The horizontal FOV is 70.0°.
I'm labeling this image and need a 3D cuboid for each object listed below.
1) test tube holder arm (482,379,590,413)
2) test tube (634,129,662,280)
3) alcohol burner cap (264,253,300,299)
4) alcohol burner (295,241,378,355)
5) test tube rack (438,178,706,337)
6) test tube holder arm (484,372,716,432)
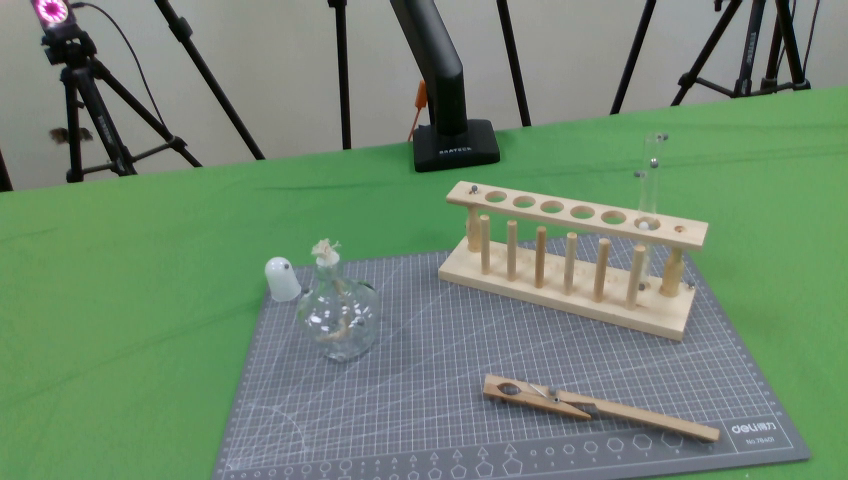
[{"bbox_3d":[0.091,0.127,0.493,0.087,0.015,0.010,7,73,19],"label":"test tube holder arm"},{"bbox_3d":[0.196,-0.026,0.537,0.017,0.151,0.017,-6,33,4],"label":"test tube"},{"bbox_3d":[-0.153,0.036,0.643,0.034,0.048,0.033,-4,37,3],"label":"alcohol burner cap"},{"bbox_3d":[-0.082,0.048,0.552,0.078,0.120,0.077,-4,38,3],"label":"alcohol burner"},{"bbox_3d":[0.130,0.010,0.585,0.241,0.086,0.066,13,42,27],"label":"test tube rack"},{"bbox_3d":[0.135,0.127,0.480,0.177,0.015,0.013,7,72,18],"label":"test tube holder arm"}]
